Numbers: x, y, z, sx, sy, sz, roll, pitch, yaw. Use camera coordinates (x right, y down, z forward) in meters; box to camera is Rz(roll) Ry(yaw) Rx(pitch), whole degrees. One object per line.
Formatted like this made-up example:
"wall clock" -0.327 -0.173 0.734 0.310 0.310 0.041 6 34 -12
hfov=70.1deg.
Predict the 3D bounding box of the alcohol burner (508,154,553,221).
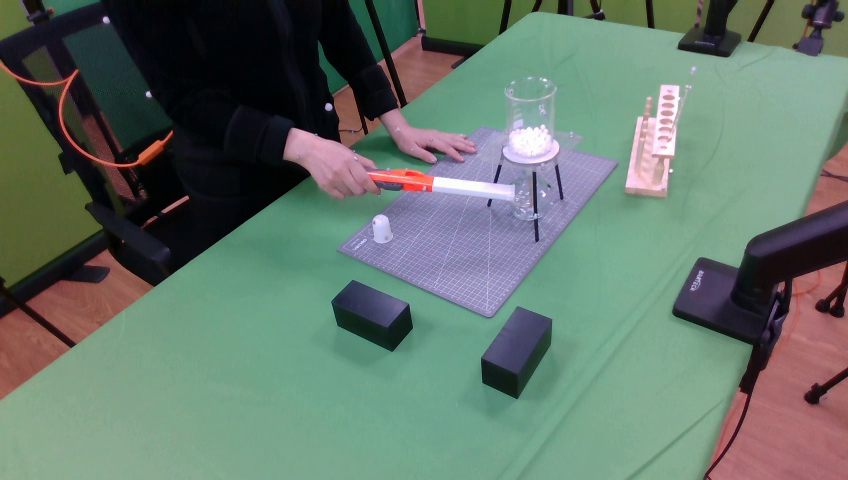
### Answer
"alcohol burner" 0.171 -0.090 0.984 0.078 0.119 0.077 -5 42 5

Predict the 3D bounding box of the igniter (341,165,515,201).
"igniter" 0.003 -0.089 0.940 0.276 0.025 0.057 7 35 4

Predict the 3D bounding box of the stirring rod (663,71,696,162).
"stirring rod" 0.410 -0.195 0.981 0.014 0.177 0.006 12 50 14

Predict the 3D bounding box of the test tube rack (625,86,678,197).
"test tube rack" 0.412 -0.184 1.088 0.066 0.085 0.242 9 43 18

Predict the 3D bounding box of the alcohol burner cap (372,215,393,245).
"alcohol burner cap" -0.070 -0.019 0.990 0.034 0.048 0.033 -4 41 4

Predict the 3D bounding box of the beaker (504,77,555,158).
"beaker" 0.160 -0.181 0.900 0.084 0.101 0.073 -33 46 -27

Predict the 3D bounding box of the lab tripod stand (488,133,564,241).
"lab tripod stand" 0.168 -0.093 0.972 0.148 0.132 0.147 -5 41 5

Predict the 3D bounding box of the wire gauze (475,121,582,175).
"wire gauze" 0.161 -0.142 0.929 0.120 0.011 0.125 19 49 32
